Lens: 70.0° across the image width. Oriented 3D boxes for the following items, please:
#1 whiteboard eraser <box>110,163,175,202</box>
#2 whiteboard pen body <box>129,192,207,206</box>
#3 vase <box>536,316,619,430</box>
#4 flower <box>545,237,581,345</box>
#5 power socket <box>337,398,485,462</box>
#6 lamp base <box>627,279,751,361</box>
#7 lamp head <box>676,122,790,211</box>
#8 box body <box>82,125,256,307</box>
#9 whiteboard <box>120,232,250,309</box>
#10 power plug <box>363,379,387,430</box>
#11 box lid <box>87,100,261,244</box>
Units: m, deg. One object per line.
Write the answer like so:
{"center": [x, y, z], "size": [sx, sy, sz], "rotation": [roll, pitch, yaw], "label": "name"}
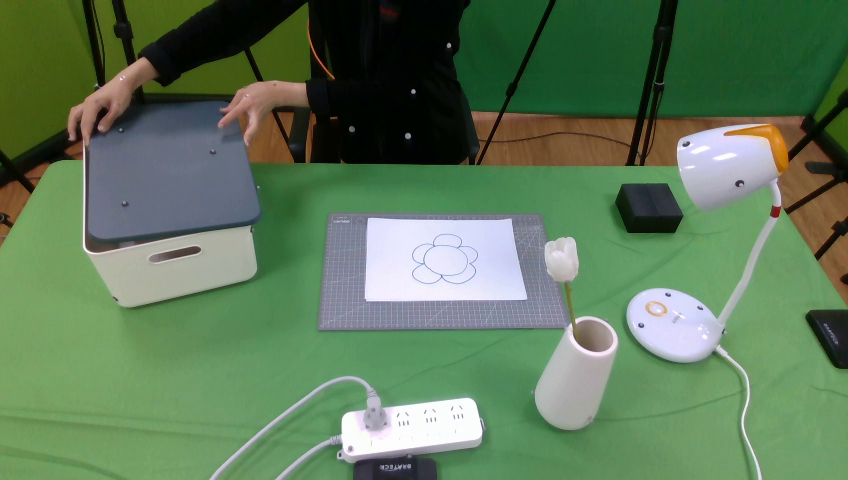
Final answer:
{"center": [-0.570, -0.114, 1.227], "size": [0.113, 0.042, 0.055], "rotation": [-21, 59, -23], "label": "whiteboard eraser"}
{"center": [-0.500, -0.082, 1.188], "size": [0.141, 0.017, 0.017], "rotation": [-8, 47, -19], "label": "whiteboard pen body"}
{"center": [0.229, 0.200, 0.901], "size": [0.098, 0.201, 0.097], "rotation": [3, 46, -3], "label": "vase"}
{"center": [0.213, 0.137, 0.846], "size": [0.038, 0.364, 0.044], "rotation": [22, 55, 40], "label": "flower"}
{"center": [-0.018, 0.285, 0.914], "size": [0.227, 0.033, 0.071], "rotation": [-4, 46, -8], "label": "power socket"}
{"center": [0.460, 0.100, 1.027], "size": [0.178, 0.181, 0.160], "rotation": [27, 51, 17], "label": "lamp base"}
{"center": [0.423, -0.104, 0.819], "size": [0.122, 0.113, 0.112], "rotation": [-13, 33, 40], "label": "lamp head"}
{"center": [-0.471, -0.070, 1.131], "size": [0.254, 0.161, 0.361], "rotation": [-14, 49, -17], "label": "box body"}
{"center": [-0.473, -0.054, 1.131], "size": [0.217, 0.144, 0.303], "rotation": [-14, 51, -16], "label": "whiteboard"}
{"center": [-0.071, 0.252, 0.911], "size": [0.035, 0.053, 0.072], "rotation": [3, 40, 0], "label": "power plug"}
{"center": [-0.448, -0.135, 1.073], "size": [0.264, 0.015, 0.369], "rotation": [-9, 48, -20], "label": "box lid"}
